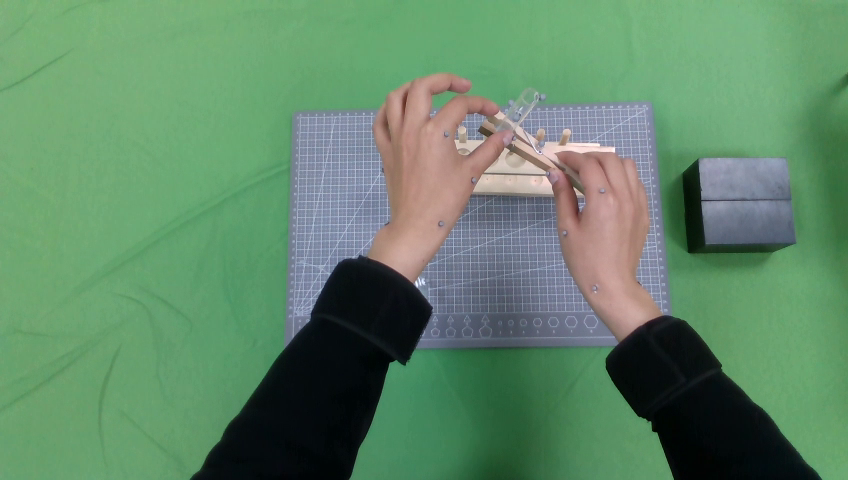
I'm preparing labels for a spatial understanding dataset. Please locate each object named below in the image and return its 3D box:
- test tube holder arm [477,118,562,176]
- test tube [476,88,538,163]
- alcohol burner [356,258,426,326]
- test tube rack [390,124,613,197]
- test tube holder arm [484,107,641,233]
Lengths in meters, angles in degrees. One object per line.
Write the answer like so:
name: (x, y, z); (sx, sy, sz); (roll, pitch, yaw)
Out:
test tube holder arm: (0.089, -0.085, 0.561); (0.088, 0.015, 0.010); (29, 76, -3)
test tube: (0.073, -0.102, 0.561); (0.017, 0.150, 0.017); (2, 78, -9)
alcohol burner: (-0.037, 0.054, 0.661); (0.078, 0.119, 0.077); (0, 77, 0)
test tube rack: (0.086, -0.096, 0.702); (0.242, 0.085, 0.066); (2, 79, 2)
test tube holder arm: (0.130, -0.065, 0.564); (0.178, 0.015, 0.013); (36, 76, -2)
